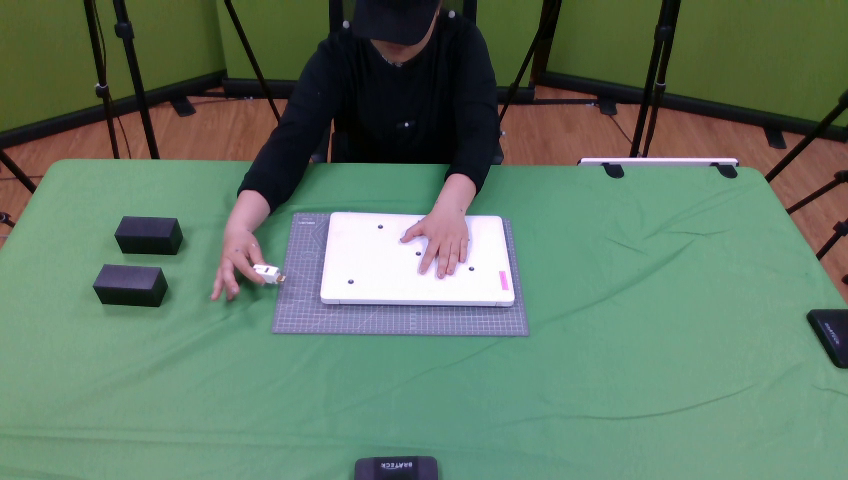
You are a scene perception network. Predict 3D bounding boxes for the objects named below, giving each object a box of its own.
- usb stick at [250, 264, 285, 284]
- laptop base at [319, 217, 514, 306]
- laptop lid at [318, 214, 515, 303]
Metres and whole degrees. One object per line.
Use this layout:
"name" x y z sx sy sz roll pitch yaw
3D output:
"usb stick" -0.277 0.062 1.079 0.059 0.027 0.021 12 48 6
"laptop base" -0.014 0.038 1.163 0.354 0.023 0.234 1 42 -3
"laptop lid" -0.014 0.029 1.158 0.357 0.013 0.240 3 42 -2
